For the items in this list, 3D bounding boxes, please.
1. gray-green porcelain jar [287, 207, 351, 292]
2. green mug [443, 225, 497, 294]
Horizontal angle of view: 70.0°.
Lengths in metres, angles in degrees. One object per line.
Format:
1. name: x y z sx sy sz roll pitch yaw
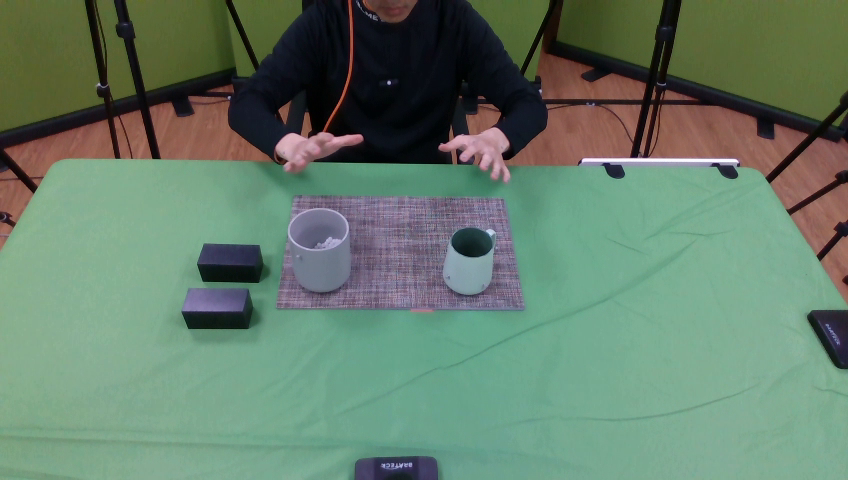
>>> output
1. gray-green porcelain jar: -0.185 0.022 1.083 0.106 0.127 0.105 2 47 -2
2. green mug: 0.093 0.028 1.114 0.092 0.105 0.125 31 52 23
